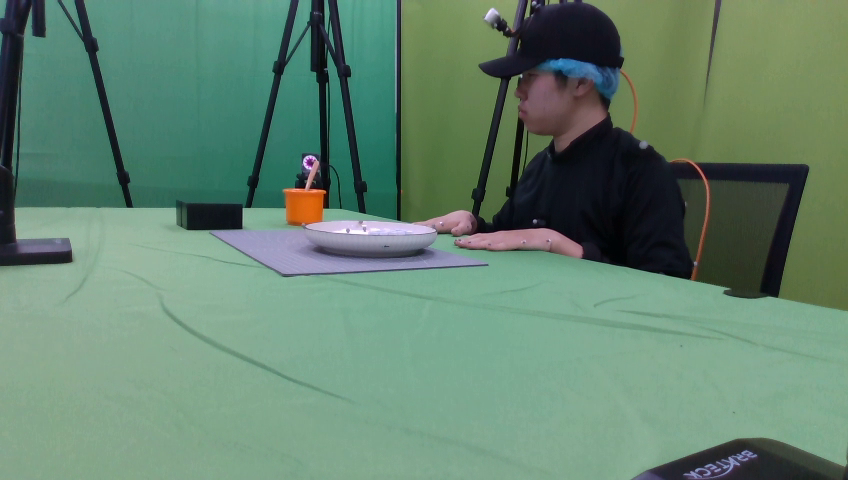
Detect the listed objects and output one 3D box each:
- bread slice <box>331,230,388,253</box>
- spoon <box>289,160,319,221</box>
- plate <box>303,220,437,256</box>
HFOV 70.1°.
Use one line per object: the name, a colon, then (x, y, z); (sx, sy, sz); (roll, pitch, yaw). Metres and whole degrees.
bread slice: (-0.088, 0.000, 0.947); (0.105, 0.019, 0.131); (-4, 11, -44)
spoon: (-0.259, -0.112, 1.339); (0.041, 0.193, 0.022); (1, -37, 10)
plate: (-0.084, -0.003, 0.951); (0.209, 0.038, 0.209); (3, 7, 0)
